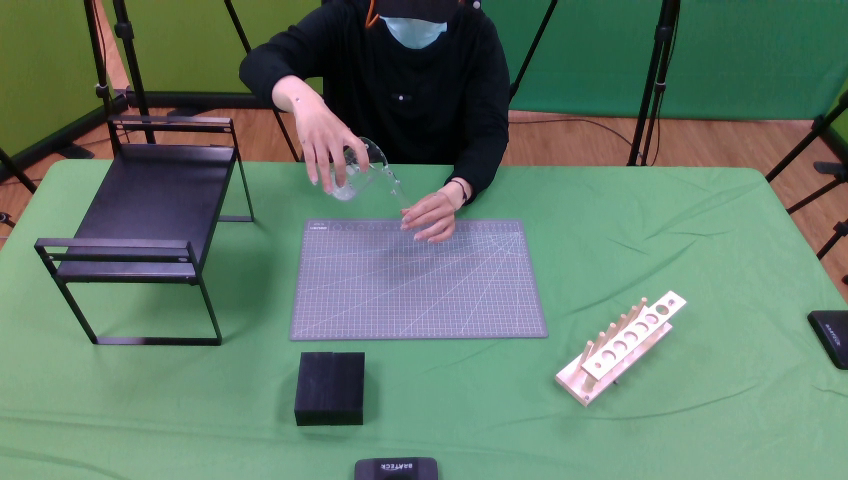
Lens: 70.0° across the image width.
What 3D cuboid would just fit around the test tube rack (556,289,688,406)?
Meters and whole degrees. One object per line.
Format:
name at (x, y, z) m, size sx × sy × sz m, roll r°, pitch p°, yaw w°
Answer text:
test tube rack at (0.332, 0.166, 1.014) m, size 0.242 × 0.085 × 0.066 m, roll -30°, pitch 55°, yaw -28°

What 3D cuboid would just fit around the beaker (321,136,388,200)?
beaker at (-0.123, -0.121, 1.056) m, size 0.084 × 0.100 × 0.073 m, roll 38°, pitch 31°, yaw -29°

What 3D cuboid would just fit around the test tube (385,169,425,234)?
test tube at (-0.033, -0.066, 1.101) m, size 0.017 × 0.151 × 0.017 m, roll -18°, pitch 37°, yaw 14°
